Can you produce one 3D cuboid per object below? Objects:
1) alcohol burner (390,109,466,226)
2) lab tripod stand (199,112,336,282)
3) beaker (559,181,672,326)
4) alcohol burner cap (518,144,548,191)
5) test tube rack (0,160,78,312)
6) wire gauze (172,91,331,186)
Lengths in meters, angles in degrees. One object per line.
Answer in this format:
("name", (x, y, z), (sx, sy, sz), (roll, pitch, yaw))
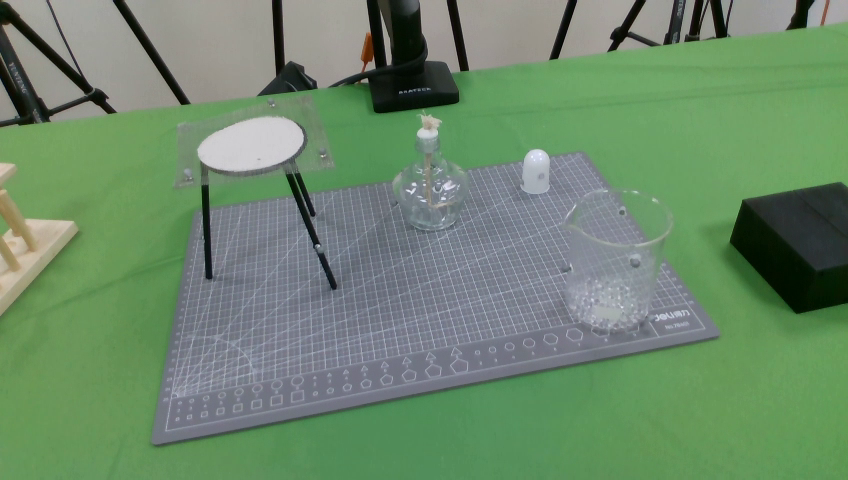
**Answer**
("alcohol burner", (0.003, -0.074, 0.600), (0.078, 0.120, 0.077), (-3, 38, 3))
("lab tripod stand", (-0.144, -0.036, 0.553), (0.148, 0.133, 0.147), (-3, 42, 3))
("beaker", (0.149, 0.015, 0.492), (0.084, 0.101, 0.073), (-2, 40, 5))
("alcohol burner cap", (0.118, -0.081, 0.653), (0.034, 0.048, 0.033), (-3, 40, 3))
("test tube rack", (-0.427, 0.029, 0.544), (0.066, 0.086, 0.240), (3, 41, 9))
("wire gauze", (-0.148, -0.087, 0.509), (0.125, 0.011, 0.120), (-14, 41, -9))
